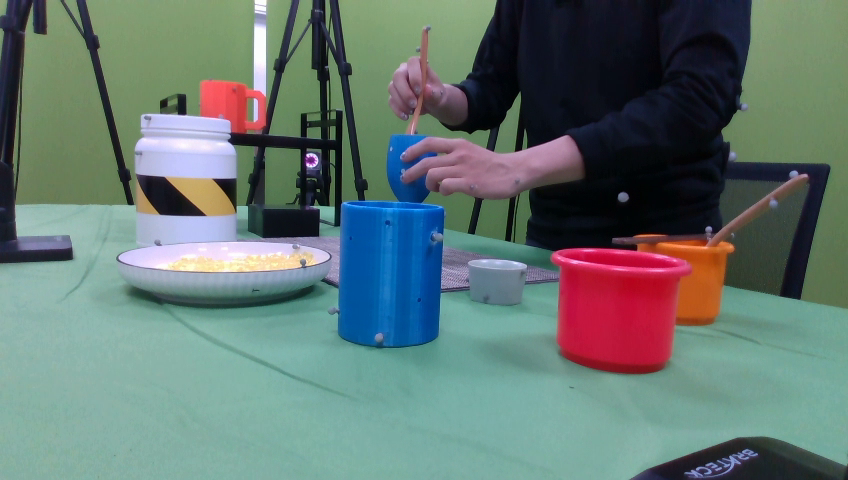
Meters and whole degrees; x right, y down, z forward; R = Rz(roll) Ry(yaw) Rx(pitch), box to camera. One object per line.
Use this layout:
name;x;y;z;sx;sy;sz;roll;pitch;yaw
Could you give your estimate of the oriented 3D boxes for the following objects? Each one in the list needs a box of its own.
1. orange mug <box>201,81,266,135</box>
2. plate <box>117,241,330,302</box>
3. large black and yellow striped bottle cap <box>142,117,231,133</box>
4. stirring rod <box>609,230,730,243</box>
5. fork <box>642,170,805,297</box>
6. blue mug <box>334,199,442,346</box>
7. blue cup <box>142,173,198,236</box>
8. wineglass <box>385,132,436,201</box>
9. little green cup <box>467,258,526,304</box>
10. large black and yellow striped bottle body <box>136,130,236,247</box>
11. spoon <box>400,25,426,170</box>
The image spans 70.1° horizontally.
orange mug;-0.377;-0.260;1.198;0.126;0.101;0.083;-3;8;-6
plate;-0.203;0.031;0.630;0.209;0.038;0.209;3;7;0
large black and yellow striped bottle cap;-0.328;-0.159;0.839;0.115;0.019;0.115;1;9;0
stirring rod;0.241;-0.004;0.582;0.177;0.006;0.014;-3;9;-33
fork;0.261;0.004;0.545;0.028;0.018;0.207;6;-38;-15
blue mug;-0.034;0.020;0.498;0.083;0.106;0.116;0;7;-20
blue cup;-0.425;-0.060;1.014;0.093;0.100;0.092;4;9;0
wineglass;-0.020;-0.061;0.842;0.074;0.172;0.073;2;7;0
little green cup;0.074;0.042;0.625;0.061;0.038;0.061;3;7;0
large black and yellow striped bottle body;-0.332;-0.076;0.851;0.131;0.184;0.130;3;8;0
spoon;-0.011;-0.192;0.823;0.022;0.193;0.041;9;5;-14
